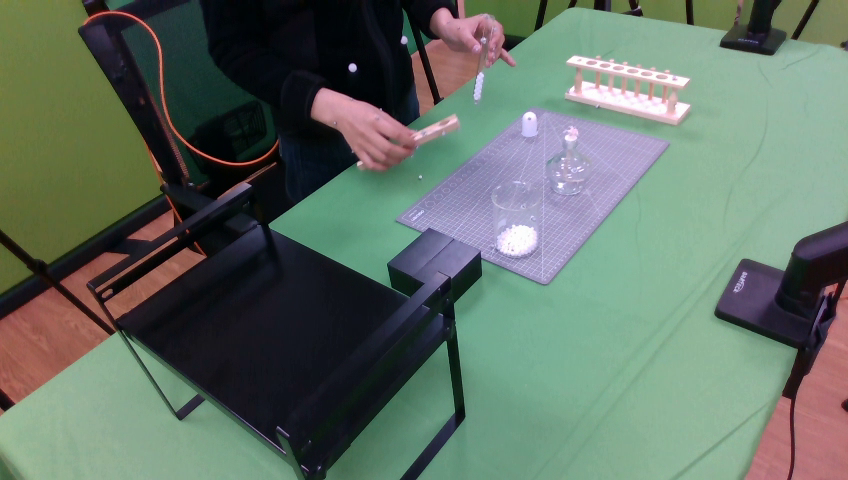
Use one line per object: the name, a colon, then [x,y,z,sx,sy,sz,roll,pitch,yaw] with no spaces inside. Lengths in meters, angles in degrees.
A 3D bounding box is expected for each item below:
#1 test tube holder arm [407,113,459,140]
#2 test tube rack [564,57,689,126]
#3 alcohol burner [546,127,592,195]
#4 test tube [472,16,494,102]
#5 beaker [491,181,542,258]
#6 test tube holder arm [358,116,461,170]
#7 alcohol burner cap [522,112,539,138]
test tube holder arm: [0.014,-0.175,0.952,0.087,0.015,0.010,-24,48,12]
test tube rack: [0.411,-0.311,1.230,0.240,0.085,0.067,23,50,32]
alcohol burner: [0.246,-0.137,1.024,0.078,0.119,0.077,-4,38,4]
test tube: [0.102,-0.312,1.052,0.017,0.150,0.017,5,36,-3]
beaker: [0.144,-0.030,0.925,0.073,0.100,0.084,23,48,31]
test tube holder arm: [-0.025,-0.153,0.958,0.178,0.015,0.013,-24,48,12]
alcohol burner cap: [0.210,-0.230,1.195,0.034,0.048,0.033,-6,41,5]
